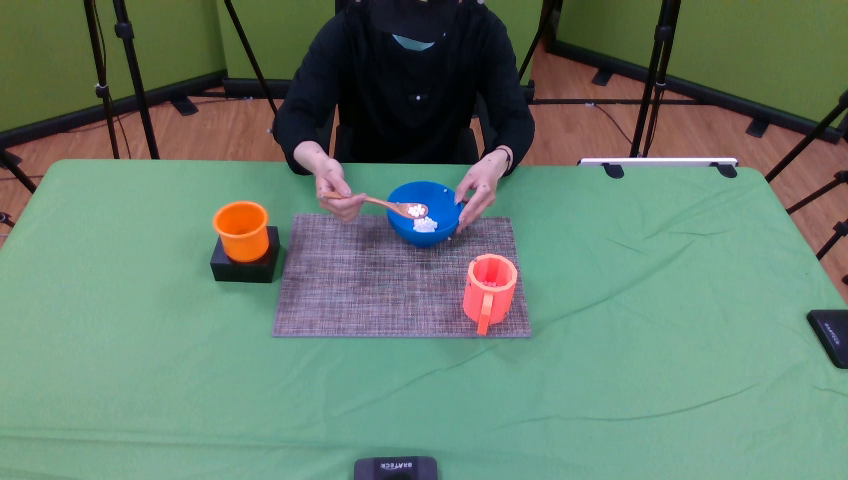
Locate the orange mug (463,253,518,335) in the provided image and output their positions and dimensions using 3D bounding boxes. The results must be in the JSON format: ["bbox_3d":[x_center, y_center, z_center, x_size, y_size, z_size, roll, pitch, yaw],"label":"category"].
[{"bbox_3d":[0.113,0.098,1.050,0.083,0.101,0.125,10,42,6],"label":"orange mug"}]

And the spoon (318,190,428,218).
[{"bbox_3d":[-0.087,-0.068,1.061,0.194,0.022,0.041,12,45,-17],"label":"spoon"}]

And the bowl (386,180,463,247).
[{"bbox_3d":[0.000,-0.040,1.190,0.151,0.077,0.150,2,46,-2],"label":"bowl"}]
